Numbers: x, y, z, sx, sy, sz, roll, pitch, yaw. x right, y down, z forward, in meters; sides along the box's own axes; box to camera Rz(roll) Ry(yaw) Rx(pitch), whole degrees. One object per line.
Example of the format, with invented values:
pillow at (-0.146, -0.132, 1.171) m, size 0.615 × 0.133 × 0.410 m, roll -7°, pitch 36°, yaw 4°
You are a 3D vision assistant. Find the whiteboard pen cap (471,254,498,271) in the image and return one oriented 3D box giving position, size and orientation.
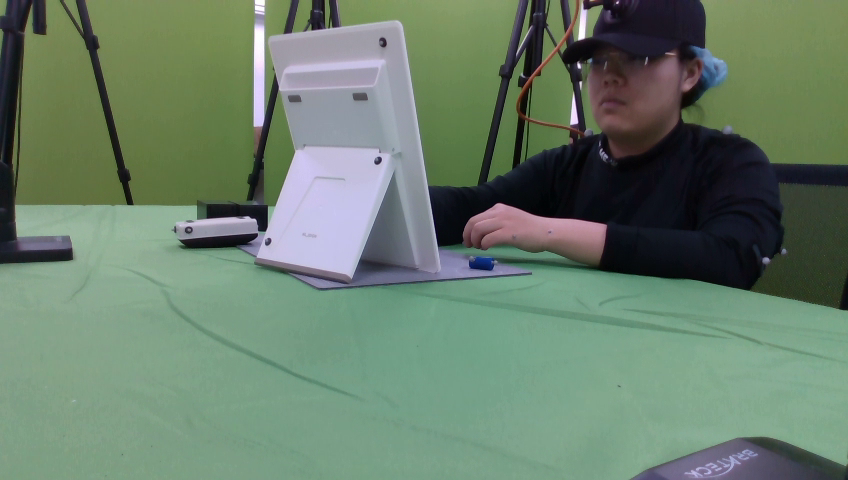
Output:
whiteboard pen cap at (0.080, 0.031, 0.799) m, size 0.033 × 0.018 × 0.018 m, roll 19°, pitch 3°, yaw -17°

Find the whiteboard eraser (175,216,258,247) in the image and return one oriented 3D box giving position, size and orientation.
whiteboard eraser at (-0.314, -0.012, 0.914) m, size 0.113 × 0.042 × 0.055 m, roll -5°, pitch 12°, yaw -30°

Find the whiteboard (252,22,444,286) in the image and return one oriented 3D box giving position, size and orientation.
whiteboard at (-0.125, -0.080, 0.714) m, size 0.216 × 0.305 × 0.144 m, roll 9°, pitch 29°, yaw 36°

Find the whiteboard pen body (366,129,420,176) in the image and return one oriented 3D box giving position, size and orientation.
whiteboard pen body at (-0.042, -0.118, 0.815) m, size 0.017 × 0.017 × 0.141 m, roll 7°, pitch 34°, yaw 27°
